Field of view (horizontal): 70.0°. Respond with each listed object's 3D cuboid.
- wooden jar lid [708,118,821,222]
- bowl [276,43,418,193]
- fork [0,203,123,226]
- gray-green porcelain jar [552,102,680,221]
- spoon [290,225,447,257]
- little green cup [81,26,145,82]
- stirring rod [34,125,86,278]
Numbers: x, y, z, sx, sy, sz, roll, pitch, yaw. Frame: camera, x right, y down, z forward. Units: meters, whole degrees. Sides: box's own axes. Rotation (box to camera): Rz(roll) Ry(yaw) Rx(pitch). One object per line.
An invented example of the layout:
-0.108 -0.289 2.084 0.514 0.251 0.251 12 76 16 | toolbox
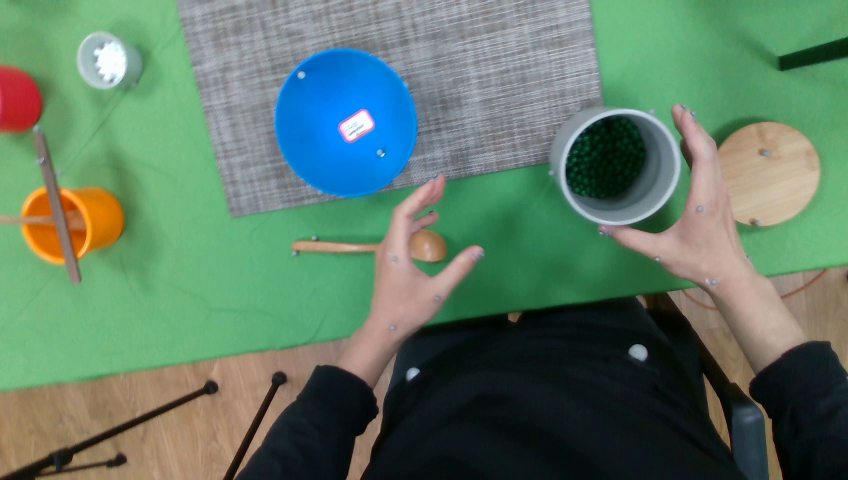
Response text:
0.355 -0.073 0.637 0.108 0.020 0.109 2 103 9 | wooden jar lid
-0.074 -0.130 0.654 0.151 0.076 0.152 2 103 8 | bowl
-0.463 -0.031 0.699 0.209 0.018 0.028 0 109 -36 | fork
0.183 -0.083 0.603 0.106 0.126 0.106 2 105 6 | gray-green porcelain jar
-0.067 0.002 0.714 0.193 0.021 0.042 -1 121 8 | spoon
-0.358 -0.213 0.702 0.061 0.038 0.062 2 102 9 | little green cup
-0.412 -0.042 0.687 0.014 0.006 0.176 -7 101 11 | stirring rod
